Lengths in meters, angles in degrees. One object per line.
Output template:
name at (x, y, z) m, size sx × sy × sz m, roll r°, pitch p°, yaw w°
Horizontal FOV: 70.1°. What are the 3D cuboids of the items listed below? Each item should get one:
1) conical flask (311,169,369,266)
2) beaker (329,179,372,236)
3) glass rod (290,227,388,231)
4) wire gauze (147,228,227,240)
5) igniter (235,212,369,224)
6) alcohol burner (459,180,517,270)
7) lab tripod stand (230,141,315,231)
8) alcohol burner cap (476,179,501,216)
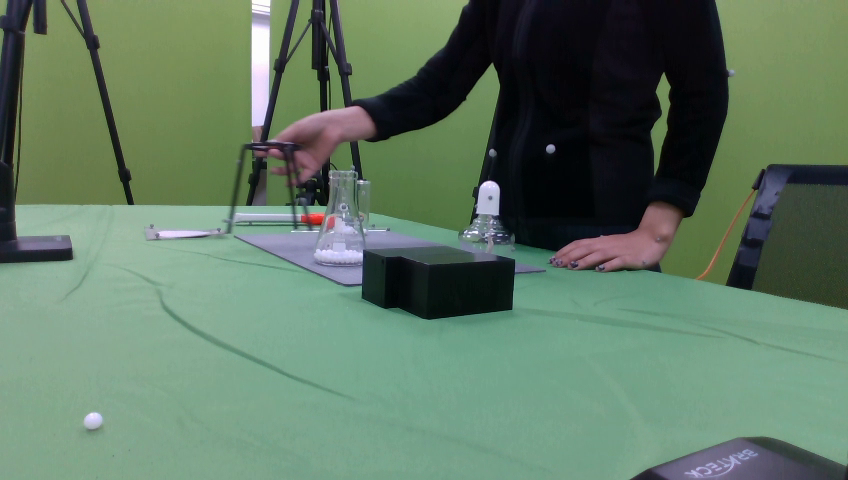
conical flask at (-0.107, -0.031, 0.786) m, size 0.075 × 0.122 × 0.075 m, roll 2°, pitch 8°, yaw 0°
beaker at (-0.137, -0.061, 1.101) m, size 0.084 × 0.100 × 0.074 m, roll 5°, pitch 7°, yaw 20°
glass rod at (-0.161, -0.023, 1.177) m, size 0.201 × 0.008 × 0.008 m, roll -2°, pitch 8°, yaw -28°
wire gauze at (-0.400, -0.012, 1.019) m, size 0.122 × 0.011 × 0.124 m, roll -1°, pitch 6°, yaw -26°
igniter at (-0.247, -0.046, 1.253) m, size 0.278 × 0.025 × 0.057 m, roll -1°, pitch -2°, yaw -27°
alcohol burner at (0.086, -0.021, 0.805) m, size 0.078 × 0.119 × 0.078 m, roll 3°, pitch 9°, yaw 0°
lab tripod stand at (-0.216, -0.079, 0.911) m, size 0.148 × 0.131 × 0.148 m, roll 0°, pitch 3°, yaw 0°
alcohol burner cap at (0.086, -0.056, 0.801) m, size 0.034 × 0.048 × 0.034 m, roll 4°, pitch 2°, yaw 0°
